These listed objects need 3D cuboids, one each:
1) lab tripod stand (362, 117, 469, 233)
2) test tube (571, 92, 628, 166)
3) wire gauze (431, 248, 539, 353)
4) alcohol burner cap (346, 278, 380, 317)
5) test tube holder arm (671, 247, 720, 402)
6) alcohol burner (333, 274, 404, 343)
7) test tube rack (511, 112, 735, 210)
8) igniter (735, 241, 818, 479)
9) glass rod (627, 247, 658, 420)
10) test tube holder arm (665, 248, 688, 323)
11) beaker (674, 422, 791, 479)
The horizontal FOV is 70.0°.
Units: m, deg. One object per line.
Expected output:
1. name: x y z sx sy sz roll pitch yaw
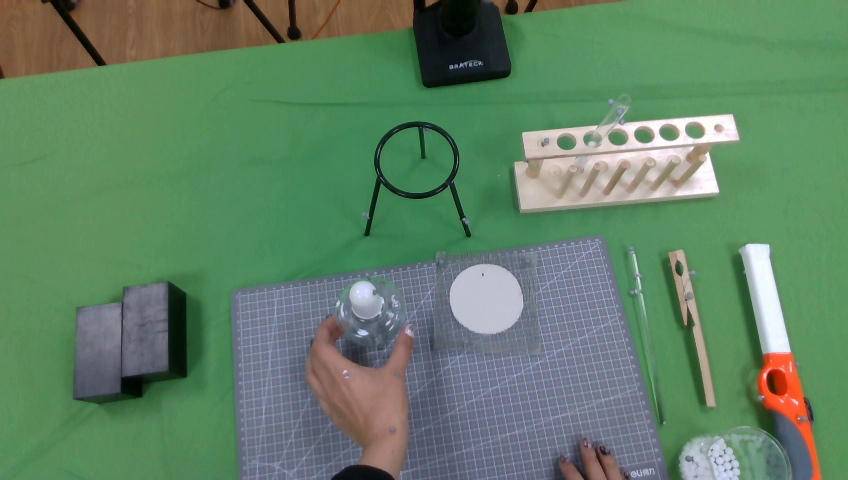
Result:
1. lab tripod stand: -0.011 -0.064 0.687 0.148 0.132 0.147 0 73 1
2. test tube: 0.193 -0.119 0.677 0.017 0.151 0.017 2 71 -4
3. wire gauze: 0.071 0.068 0.704 0.125 0.011 0.120 2 72 0
4. alcohol burner cap: -0.063 0.056 0.615 0.034 0.048 0.033 0 64 1
5. test tube holder arm: 0.307 0.093 0.688 0.013 0.015 0.177 -22 66 33
6. alcohol burner: -0.062 0.069 0.649 0.078 0.120 0.077 -1 71 3
7. test tube rack: 0.233 -0.092 0.720 0.242 0.086 0.066 -5 70 -1
8. igniter: 0.388 0.133 0.671 0.057 0.025 0.274 2 70 -10
9. glass rod: 0.249 0.103 0.692 0.008 0.008 0.198 -3 73 -1
10. test tube holder arm: 0.297 0.053 0.706 0.010 0.015 0.087 -20 67 34
11. beaker: 0.297 0.220 0.604 0.084 0.101 0.073 22 72 9
